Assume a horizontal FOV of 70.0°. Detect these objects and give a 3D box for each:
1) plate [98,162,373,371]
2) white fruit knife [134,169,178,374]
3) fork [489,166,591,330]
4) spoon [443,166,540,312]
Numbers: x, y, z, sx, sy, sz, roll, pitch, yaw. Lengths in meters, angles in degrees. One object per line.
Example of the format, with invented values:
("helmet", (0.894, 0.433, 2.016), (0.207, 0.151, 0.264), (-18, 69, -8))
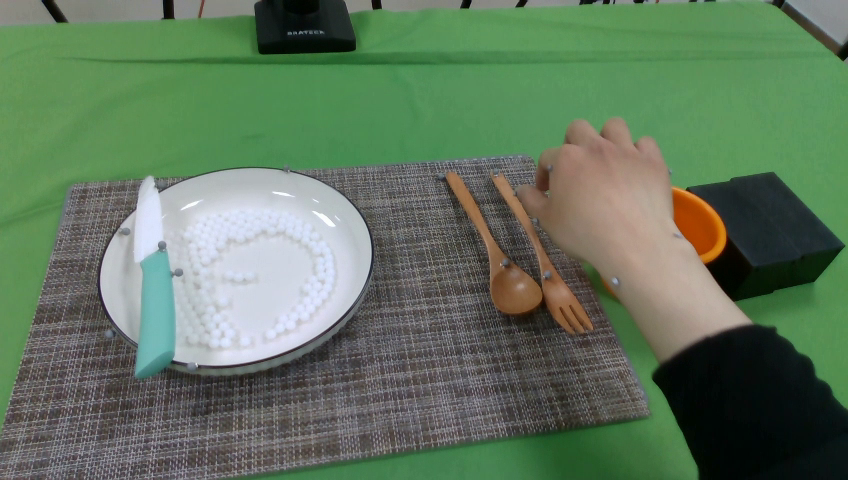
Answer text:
("plate", (-0.145, 0.017, 0.490), (0.209, 0.038, 0.207), (3, 48, -3))
("white fruit knife", (-0.206, 0.011, 0.460), (0.027, 0.016, 0.205), (-14, 50, -13))
("fork", (0.097, -0.001, 0.547), (0.028, 0.019, 0.205), (-13, 52, -9))
("spoon", (0.053, -0.009, 0.546), (0.041, 0.022, 0.191), (-22, 52, -1))
